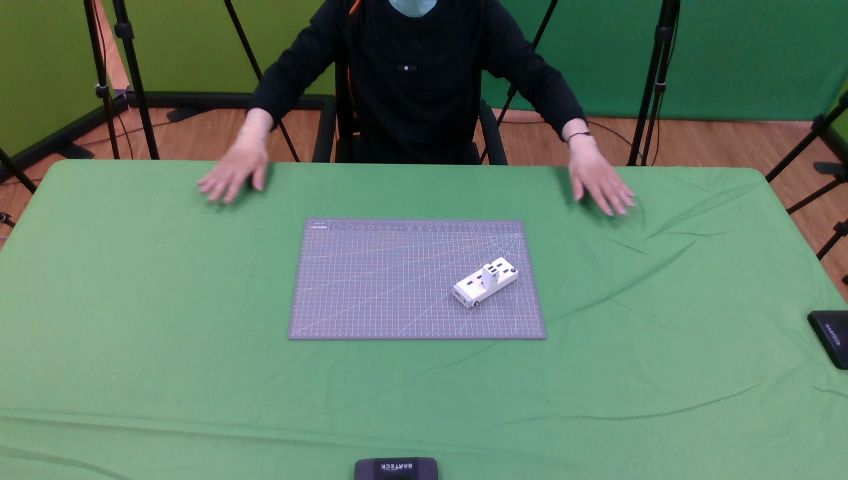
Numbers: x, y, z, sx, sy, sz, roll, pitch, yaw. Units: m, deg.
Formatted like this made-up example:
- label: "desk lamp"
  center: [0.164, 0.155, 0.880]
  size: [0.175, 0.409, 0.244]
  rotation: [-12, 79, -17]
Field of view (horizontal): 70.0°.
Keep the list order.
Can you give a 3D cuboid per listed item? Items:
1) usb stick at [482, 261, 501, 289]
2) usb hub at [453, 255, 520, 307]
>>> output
- label: "usb stick"
  center: [0.120, 0.067, 1.090]
  size: [0.021, 0.059, 0.027]
  rotation: [-30, 57, -28]
- label: "usb hub"
  center: [0.117, 0.076, 1.122]
  size: [0.125, 0.025, 0.049]
  rotation: [-28, 55, -26]
